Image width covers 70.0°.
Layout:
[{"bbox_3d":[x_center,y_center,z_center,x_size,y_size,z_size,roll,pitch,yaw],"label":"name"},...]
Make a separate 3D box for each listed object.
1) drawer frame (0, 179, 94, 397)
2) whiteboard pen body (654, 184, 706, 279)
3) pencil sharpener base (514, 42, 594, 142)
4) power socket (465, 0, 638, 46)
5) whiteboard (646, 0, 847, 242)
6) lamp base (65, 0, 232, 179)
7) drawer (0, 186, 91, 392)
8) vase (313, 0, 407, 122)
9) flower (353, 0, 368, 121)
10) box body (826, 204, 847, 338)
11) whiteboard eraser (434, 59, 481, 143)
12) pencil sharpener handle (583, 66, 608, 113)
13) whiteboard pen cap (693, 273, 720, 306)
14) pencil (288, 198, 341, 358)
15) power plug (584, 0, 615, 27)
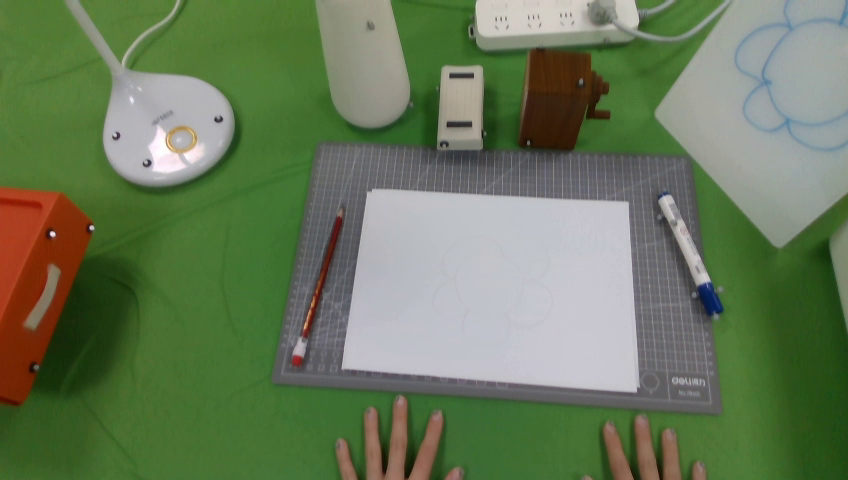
[{"bbox_3d":[-0.476,0.037,0.594,0.213,0.083,0.200,6,66,3],"label":"drawer frame"},{"bbox_3d":[0.281,0.000,0.657,0.017,0.017,0.139,-12,64,-3],"label":"whiteboard pen body"},{"bbox_3d":[0.147,-0.167,0.697,0.076,0.108,0.061,5,64,5],"label":"pencil sharpener base"},{"bbox_3d":[0.168,-0.296,0.798,0.227,0.033,0.071,-2,65,1],"label":"power socket"},{"bbox_3d":[0.421,-0.183,0.618,0.144,0.307,0.215,-19,63,-27],"label":"whiteboard"},{"bbox_3d":[-0.332,-0.185,0.685,0.178,0.182,0.160,34,70,20],"label":"lamp base"},{"bbox_3d":[-0.470,0.036,0.592,0.211,0.074,0.193,6,66,5],"label":"drawer"},{"bbox_3d":[-0.075,-0.224,0.682,0.098,0.201,0.097,-2,64,4],"label":"vase"},{"bbox_3d":[-0.070,-0.275,0.615,0.038,0.365,0.043,-8,46,-9],"label":"flower"},{"bbox_3d":[0.537,0.105,0.522,0.254,0.161,0.361,2,65,4],"label":"box body"},{"bbox_3d":[0.042,-0.167,0.738,0.055,0.042,0.112,2,64,2],"label":"whiteboard eraser"},{"bbox_3d":[0.198,-0.167,0.682,0.030,0.068,0.035,5,63,5],"label":"pencil sharpener handle"},{"bbox_3d":[0.292,0.051,0.629,0.018,0.018,0.033,-12,64,-3],"label":"whiteboard pen cap"},{"bbox_3d":[-0.116,0.036,0.664,0.012,0.012,0.192,9,64,7],"label":"pencil"},{"bbox_3d":[0.219,-0.282,0.764,0.035,0.053,0.072,7,67,6],"label":"power plug"}]
